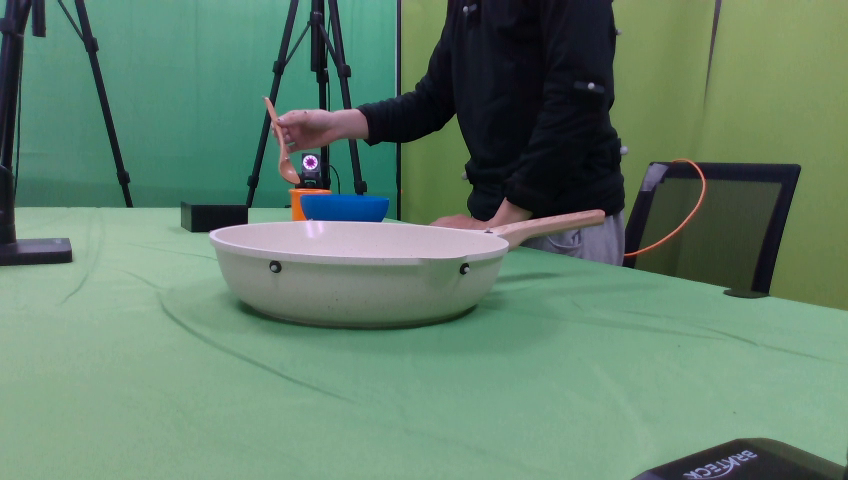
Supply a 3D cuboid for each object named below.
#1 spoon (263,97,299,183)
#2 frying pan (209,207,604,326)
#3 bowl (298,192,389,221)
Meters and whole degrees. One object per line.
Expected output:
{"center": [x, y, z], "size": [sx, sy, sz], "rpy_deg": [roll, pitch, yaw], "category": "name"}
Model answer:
{"center": [-0.274, -0.191, 1.149], "size": [0.021, 0.193, 0.042], "rpy_deg": [-28, -18, 34], "category": "spoon"}
{"center": [0.026, 0.005, 0.665], "size": [0.490, 0.102, 0.305], "rpy_deg": [-12, 14, -30], "category": "frying pan"}
{"center": [-0.136, -0.037, 1.018], "size": [0.151, 0.077, 0.151], "rpy_deg": [3, 7, 0], "category": "bowl"}
